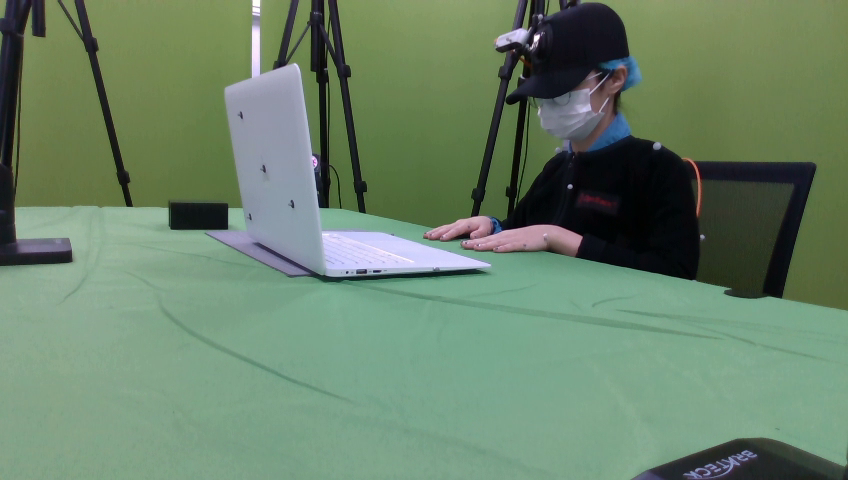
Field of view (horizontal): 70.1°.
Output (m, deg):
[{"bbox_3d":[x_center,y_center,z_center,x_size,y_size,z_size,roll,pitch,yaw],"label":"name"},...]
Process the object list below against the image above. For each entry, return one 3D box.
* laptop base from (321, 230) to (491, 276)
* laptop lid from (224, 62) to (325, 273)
[{"bbox_3d":[-0.095,0.015,0.888,0.237,0.023,0.352,2,7,-30],"label":"laptop base"},{"bbox_3d":[-0.210,-0.097,0.804,0.013,0.241,0.355,-12,15,-28],"label":"laptop lid"}]
